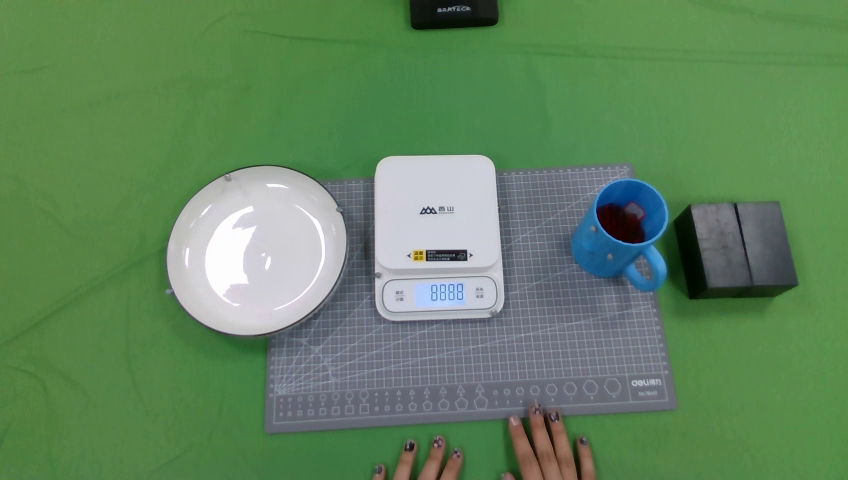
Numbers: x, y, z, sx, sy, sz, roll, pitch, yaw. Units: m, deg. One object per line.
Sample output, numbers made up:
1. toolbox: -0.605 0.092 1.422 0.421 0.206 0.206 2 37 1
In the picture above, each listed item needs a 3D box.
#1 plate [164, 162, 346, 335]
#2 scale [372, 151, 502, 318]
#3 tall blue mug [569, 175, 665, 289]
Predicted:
1. plate: -0.192 0.010 0.705 0.209 0.038 0.207 -1 71 2
2. scale: 0.013 -0.010 0.714 0.149 0.032 0.199 -2 72 0
3. tall blue mug: 0.223 -0.006 0.671 0.107 0.108 0.077 32 73 11
